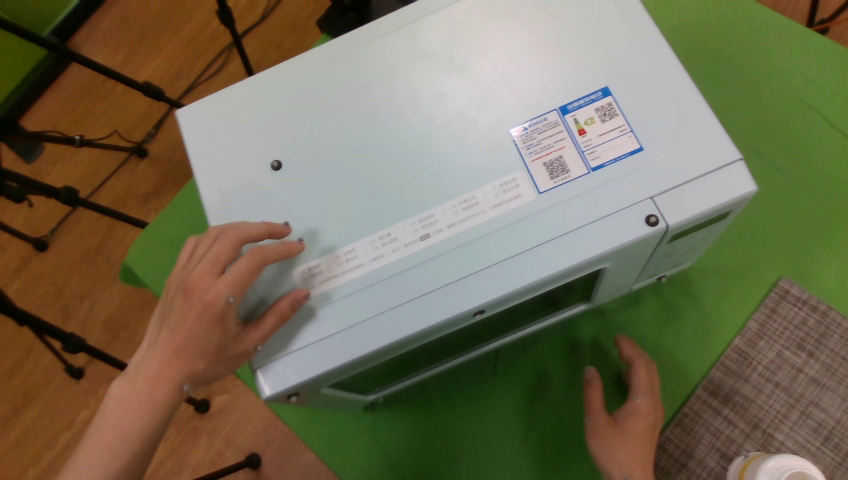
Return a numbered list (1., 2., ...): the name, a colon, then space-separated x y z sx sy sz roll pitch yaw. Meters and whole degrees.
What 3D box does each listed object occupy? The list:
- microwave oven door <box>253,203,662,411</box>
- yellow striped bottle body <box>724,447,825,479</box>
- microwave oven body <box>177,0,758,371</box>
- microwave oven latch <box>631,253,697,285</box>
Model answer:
1. microwave oven door: 0.044 0.080 0.597 0.356 0.245 0.039 -24 69 3
2. yellow striped bottle body: 0.335 0.231 0.576 0.063 0.121 0.062 -3 72 10
3. microwave oven body: 0.030 -0.062 0.648 0.442 0.262 0.323 -24 71 3
4. microwave oven latch: 0.264 0.023 0.682 0.079 0.030 0.030 -22 71 4
